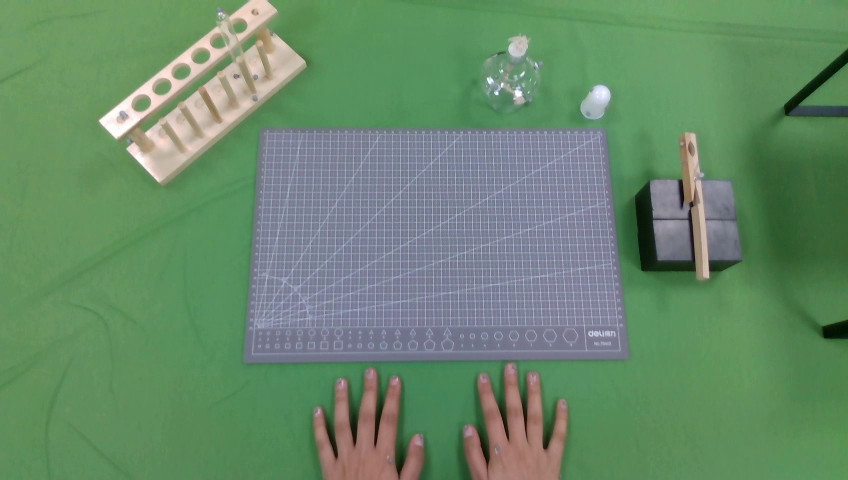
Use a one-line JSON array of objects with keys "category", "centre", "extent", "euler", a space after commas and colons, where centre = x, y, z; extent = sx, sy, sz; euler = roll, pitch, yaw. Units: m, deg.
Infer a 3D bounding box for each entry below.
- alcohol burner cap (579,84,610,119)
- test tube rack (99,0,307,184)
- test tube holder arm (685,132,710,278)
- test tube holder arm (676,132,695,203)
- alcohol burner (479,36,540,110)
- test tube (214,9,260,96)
[{"category": "alcohol burner cap", "centre": [0.223, -0.182, 0.787], "extent": [0.034, 0.048, 0.033], "euler": [1, 73, -2]}, {"category": "test tube rack", "centre": [-0.263, -0.186, 0.748], "extent": [0.066, 0.085, 0.242], "euler": [44, 77, 11]}, {"category": "test tube holder arm", "centre": [0.319, -0.043, 0.713], "extent": [0.013, 0.015, 0.177], "euler": [1, 75, -9]}, {"category": "test tube holder arm", "centre": [0.313, -0.087, 0.724], "extent": [0.010, 0.015, 0.087], "euler": [2, 74, -9]}, {"category": "alcohol burner", "centre": [0.110, -0.214, 0.755], "extent": [0.078, 0.119, 0.077], "euler": [1, 72, -3]}, {"category": "test tube", "centre": [-0.218, -0.217, 0.712], "extent": [0.017, 0.151, 0.017], "euler": [0, 71, -1]}]
